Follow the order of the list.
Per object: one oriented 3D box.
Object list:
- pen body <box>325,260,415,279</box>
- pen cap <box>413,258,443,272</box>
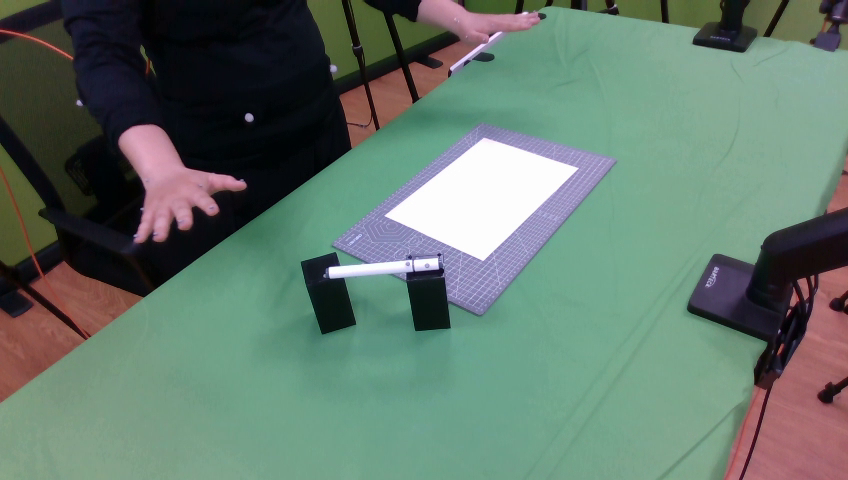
[{"bbox_3d":[-0.056,0.037,0.784,0.144,0.017,0.017,-5,40,4],"label":"pen body"},{"bbox_3d":[0.005,0.031,0.781,0.038,0.017,0.017,-5,40,3],"label":"pen cap"}]
